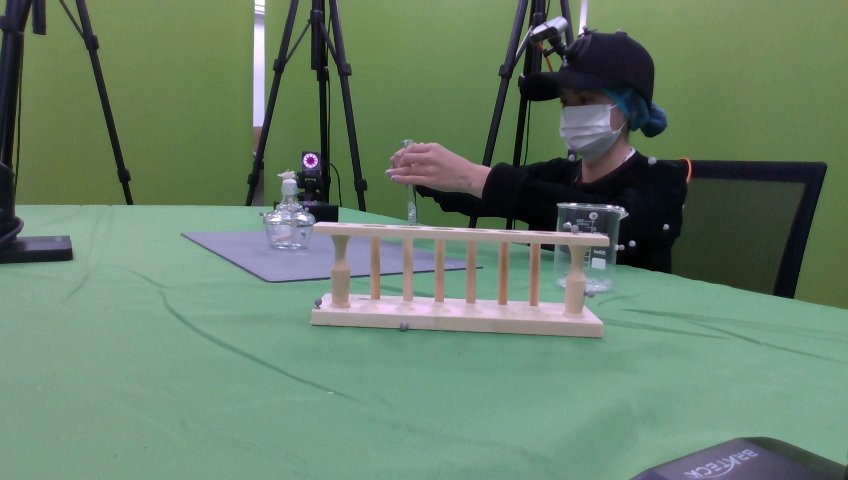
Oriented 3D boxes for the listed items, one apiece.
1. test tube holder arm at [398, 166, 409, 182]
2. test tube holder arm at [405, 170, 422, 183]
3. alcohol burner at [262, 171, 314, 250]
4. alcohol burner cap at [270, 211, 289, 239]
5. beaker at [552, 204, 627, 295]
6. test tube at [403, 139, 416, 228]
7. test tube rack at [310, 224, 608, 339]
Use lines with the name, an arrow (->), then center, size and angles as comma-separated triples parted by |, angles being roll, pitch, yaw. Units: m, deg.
test tube holder arm -> -0.037, -0.120, 1.081 | 0.013, 0.015, 0.178 | 5, 11, -8
test tube holder arm -> -0.023, -0.110, 1.040 | 0.010, 0.015, 0.087 | 2, 12, -21
alcohol burner -> -0.205, -0.045, 0.913 | 0.078, 0.119, 0.078 | 1, 9, 0
alcohol burner cap -> -0.246, -0.026, 1.035 | 0.034, 0.048, 0.034 | 2, 8, 0
beaker -> 0.191, 0.010, 0.708 | 0.083, 0.100, 0.074 | 8, 9, 33
test tube -> -0.023, -0.094, 1.021 | 0.017, 0.150, 0.017 | -2, 9, 1
test tube rack -> 0.028, 0.032, 0.528 | 0.242, 0.085, 0.067 | 3, 7, 0
